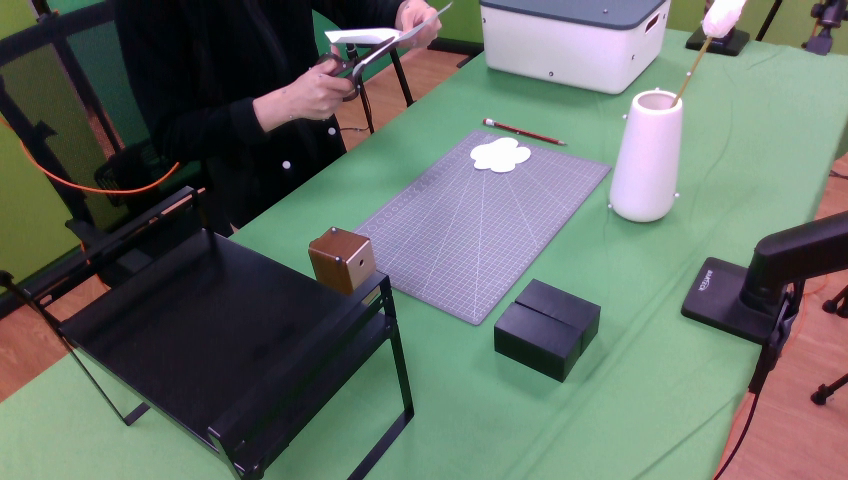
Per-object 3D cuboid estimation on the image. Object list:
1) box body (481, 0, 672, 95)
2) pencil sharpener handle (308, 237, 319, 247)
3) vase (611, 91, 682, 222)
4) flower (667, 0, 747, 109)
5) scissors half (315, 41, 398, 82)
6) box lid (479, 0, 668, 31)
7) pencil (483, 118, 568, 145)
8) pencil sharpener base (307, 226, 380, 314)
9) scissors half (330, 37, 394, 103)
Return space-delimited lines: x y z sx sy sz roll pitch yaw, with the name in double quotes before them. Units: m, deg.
"box body" 0.341 -0.480 1.381 0.361 0.161 0.255 22 48 30
"pencil sharpener handle" -0.159 0.017 0.892 0.030 0.068 0.036 18 62 27
"vase" 0.348 -0.125 0.935 0.098 0.201 0.097 -3 40 3
"flower" 0.354 -0.187 0.879 0.038 0.362 0.044 31 48 14
"scissors half" -0.106 -0.276 0.919 0.174 0.040 0.013 -4 39 38
"box lid" 0.335 -0.536 1.331 0.368 0.015 0.264 23 49 30
"pencil" 0.201 -0.217 1.212 0.192 0.012 0.012 24 49 29
"pencil sharpener base" -0.116 0.043 0.875 0.076 0.107 0.061 18 47 27
"scissors half" -0.094 -0.259 0.926 0.040 0.174 0.013 47 49 -9
